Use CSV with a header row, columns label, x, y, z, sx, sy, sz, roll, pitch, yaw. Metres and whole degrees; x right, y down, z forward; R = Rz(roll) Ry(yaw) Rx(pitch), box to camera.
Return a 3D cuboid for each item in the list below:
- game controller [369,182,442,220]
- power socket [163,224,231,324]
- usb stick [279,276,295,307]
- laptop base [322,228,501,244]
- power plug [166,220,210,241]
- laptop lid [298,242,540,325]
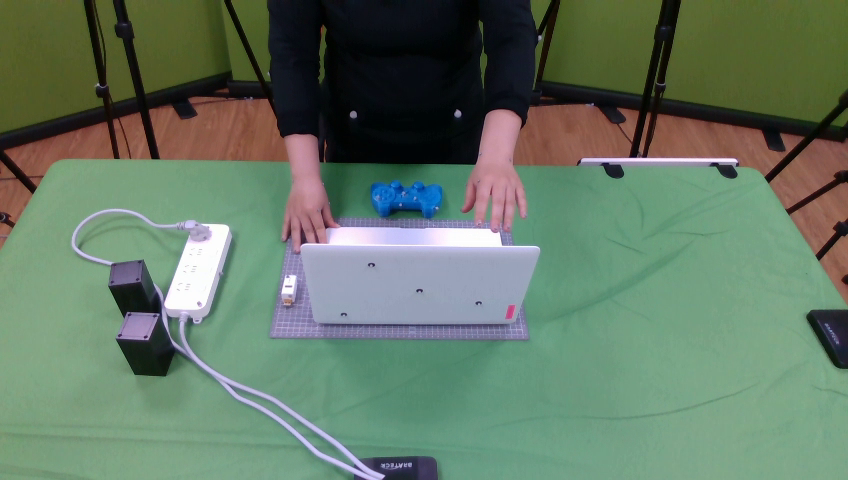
label,x,y,z,sx,sy,sz,roll,pitch,yaw
game controller,-0.039,-0.091,1.268,0.155,0.052,0.096,2,50,-2
power socket,-0.411,0.052,1.107,0.072,0.033,0.225,3,46,-3
usb stick,-0.245,0.093,1.080,0.021,0.027,0.059,2,47,-4
laptop base,-0.020,0.063,1.136,0.355,0.023,0.234,1,42,-4
power plug,-0.440,-0.016,1.143,0.072,0.053,0.035,7,45,9
laptop lid,-0.010,0.076,0.958,0.357,0.243,0.013,1,53,-5
